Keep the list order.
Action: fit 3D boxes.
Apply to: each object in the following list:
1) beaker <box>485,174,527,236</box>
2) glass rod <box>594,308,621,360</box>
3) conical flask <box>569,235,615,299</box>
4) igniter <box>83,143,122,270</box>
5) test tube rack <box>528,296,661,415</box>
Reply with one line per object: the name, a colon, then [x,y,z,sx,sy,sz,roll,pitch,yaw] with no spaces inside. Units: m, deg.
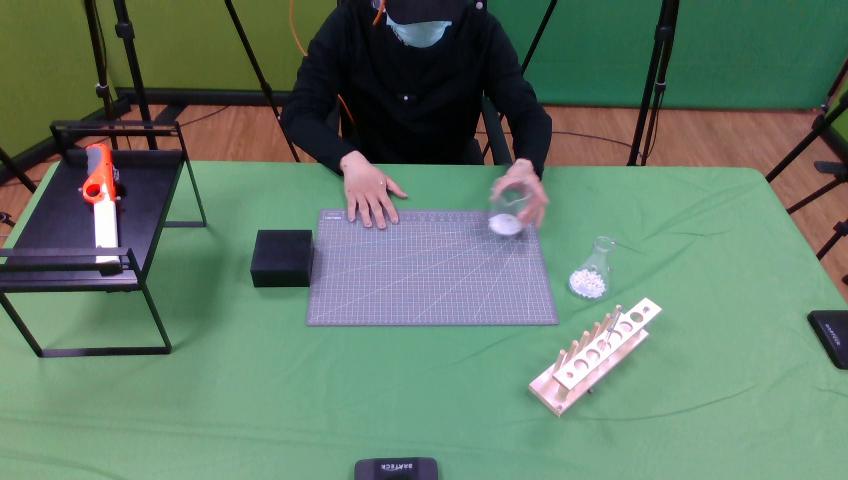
beaker: [0.156,-0.063,1.173,0.074,0.101,0.083,12,47,10]
glass rod: [0.278,0.156,0.934,0.008,0.201,0.008,-1,54,1]
conical flask: [0.314,0.046,1.108,0.075,0.122,0.075,2,47,-2]
igniter: [-0.508,-0.063,0.962,0.057,0.025,0.274,-14,53,-18]
test tube rack: [0.285,0.178,1.005,0.242,0.085,0.066,-31,55,-29]
